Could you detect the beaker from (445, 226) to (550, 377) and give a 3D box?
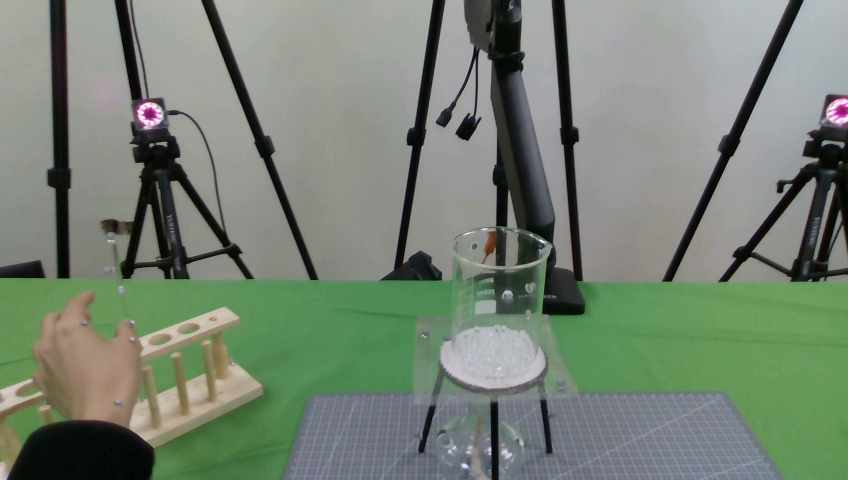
[{"bbox_3d":[0.056,0.047,0.470,0.084,0.101,0.073,-9,27,-20],"label":"beaker"}]

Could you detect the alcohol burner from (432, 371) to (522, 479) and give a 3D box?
[{"bbox_3d":[0.047,0.162,0.519,0.078,0.120,0.077,1,24,0],"label":"alcohol burner"}]

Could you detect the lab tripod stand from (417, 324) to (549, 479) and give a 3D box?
[{"bbox_3d":[0.056,0.153,0.515,0.148,0.132,0.147,1,25,0],"label":"lab tripod stand"}]

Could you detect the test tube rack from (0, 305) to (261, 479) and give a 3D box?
[{"bbox_3d":[-0.288,0.152,0.591,0.243,0.086,0.066,-21,31,-39],"label":"test tube rack"}]

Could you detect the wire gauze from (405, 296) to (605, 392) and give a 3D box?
[{"bbox_3d":[0.059,0.080,0.478,0.125,0.011,0.120,-4,21,-20],"label":"wire gauze"}]

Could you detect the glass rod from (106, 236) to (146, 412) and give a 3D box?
[{"bbox_3d":[-0.282,0.087,0.574,0.008,0.201,0.008,3,26,-1],"label":"glass rod"}]
